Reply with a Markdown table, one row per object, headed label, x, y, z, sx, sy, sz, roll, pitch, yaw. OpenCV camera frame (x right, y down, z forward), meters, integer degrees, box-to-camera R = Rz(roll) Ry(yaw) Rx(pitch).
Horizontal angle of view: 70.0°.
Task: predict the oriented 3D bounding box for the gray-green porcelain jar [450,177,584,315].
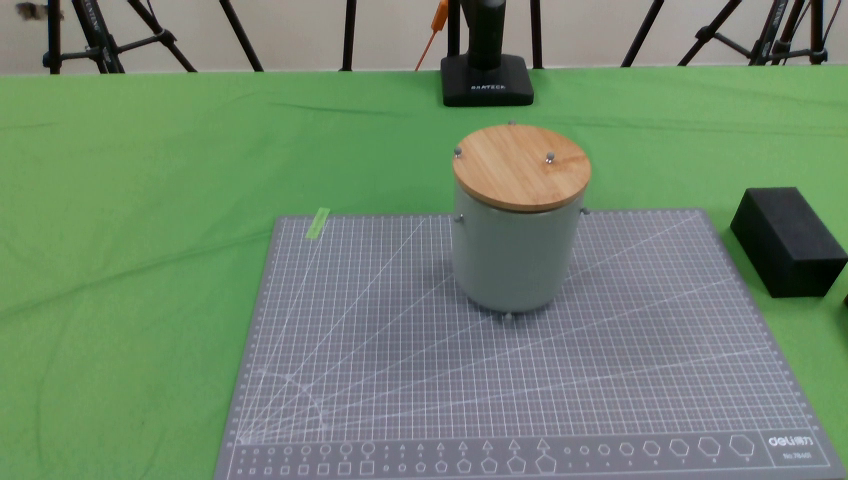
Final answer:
| label | x | y | z | sx | sy | sz | roll | pitch | yaw |
| --- | --- | --- | --- | --- | --- | --- | --- | --- | --- |
| gray-green porcelain jar | 0.076 | -0.006 | 0.524 | 0.106 | 0.127 | 0.105 | 0 | 43 | 0 |

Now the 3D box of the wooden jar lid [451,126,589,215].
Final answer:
| label | x | y | z | sx | sy | sz | roll | pitch | yaw |
| --- | --- | --- | --- | --- | --- | --- | --- | --- | --- |
| wooden jar lid | 0.075 | -0.053 | 0.479 | 0.108 | 0.021 | 0.107 | 0 | 42 | 0 |
